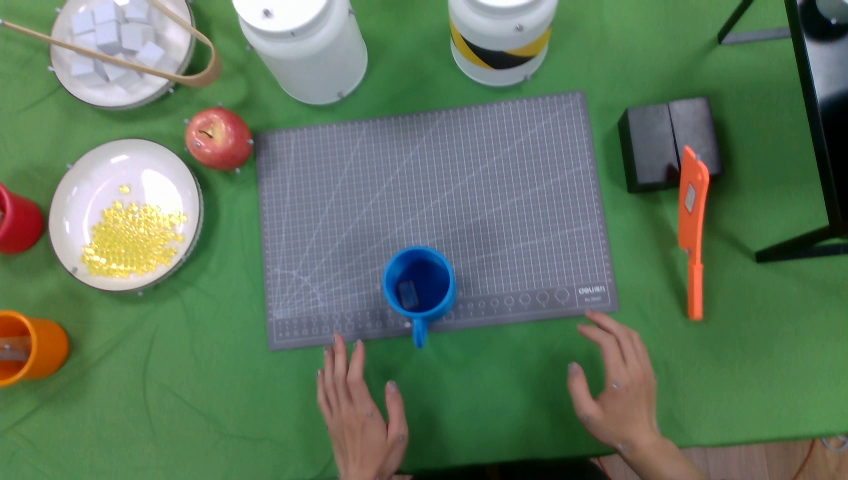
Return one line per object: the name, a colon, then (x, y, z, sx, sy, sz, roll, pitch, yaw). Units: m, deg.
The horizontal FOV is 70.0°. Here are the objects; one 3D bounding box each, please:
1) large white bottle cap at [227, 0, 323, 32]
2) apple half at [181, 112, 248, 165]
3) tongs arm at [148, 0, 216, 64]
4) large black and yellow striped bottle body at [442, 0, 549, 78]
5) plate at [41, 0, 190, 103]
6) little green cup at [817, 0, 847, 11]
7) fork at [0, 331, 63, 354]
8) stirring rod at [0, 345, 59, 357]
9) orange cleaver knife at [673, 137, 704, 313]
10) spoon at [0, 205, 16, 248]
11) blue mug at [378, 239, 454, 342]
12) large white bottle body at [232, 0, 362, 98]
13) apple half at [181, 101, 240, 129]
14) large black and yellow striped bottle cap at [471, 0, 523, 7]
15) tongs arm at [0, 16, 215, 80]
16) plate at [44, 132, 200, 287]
large white bottle cap: (-0.164, -0.285, 0.667, 0.115, 0.018, 0.114, -1, 81, 5)
apple half: (-0.268, -0.126, 0.793, 0.081, 0.075, 0.053, -21, 84, -3)
tongs arm: (-0.425, -0.354, 0.826, 0.386, 0.028, 0.028, 35, 78, 11)
large black and yellow striped bottle body: (0.087, -0.294, 0.738, 0.131, 0.184, 0.130, -1, 80, 5)
plate: (-0.424, -0.287, 0.846, 0.207, 0.039, 0.207, -1, 82, 4)
little green cup: (0.421, -0.261, 0.601, 0.061, 0.039, 0.061, -1, 81, 5)
fork: (-0.557, 0.115, 0.737, 0.209, 0.018, 0.028, 18, 79, -37)
stirring rod: (-0.546, 0.134, 0.735, 0.177, 0.006, 0.014, 8, 67, -36)
orange cleaver knife: (0.316, -0.016, 0.729, 0.012, 0.076, 0.212, -8, 112, 2)
spoon: (-0.557, -0.073, 0.768, 0.041, 0.021, 0.195, 13, 127, 7)
blue mug: (-0.007, 0.064, 0.727, 0.082, 0.106, 0.116, 1, 81, 4)
large white bottle body: (-0.156, -0.271, 0.751, 0.130, 0.185, 0.130, -1, 80, 4)
apple half: (-0.282, -0.162, 0.798, 0.081, 0.081, 0.032, -21, 85, 1)
large black and yellow striped bottle cap: (0.080, -0.310, 0.656, 0.115, 0.019, 0.114, 0, 82, 3)
tongs arm: (-0.464, -0.280, 0.815, 0.384, 0.026, 0.050, 21, 79, 9)
plate: (-0.395, -0.039, 0.806, 0.209, 0.038, 0.208, -1, 82, 4)
